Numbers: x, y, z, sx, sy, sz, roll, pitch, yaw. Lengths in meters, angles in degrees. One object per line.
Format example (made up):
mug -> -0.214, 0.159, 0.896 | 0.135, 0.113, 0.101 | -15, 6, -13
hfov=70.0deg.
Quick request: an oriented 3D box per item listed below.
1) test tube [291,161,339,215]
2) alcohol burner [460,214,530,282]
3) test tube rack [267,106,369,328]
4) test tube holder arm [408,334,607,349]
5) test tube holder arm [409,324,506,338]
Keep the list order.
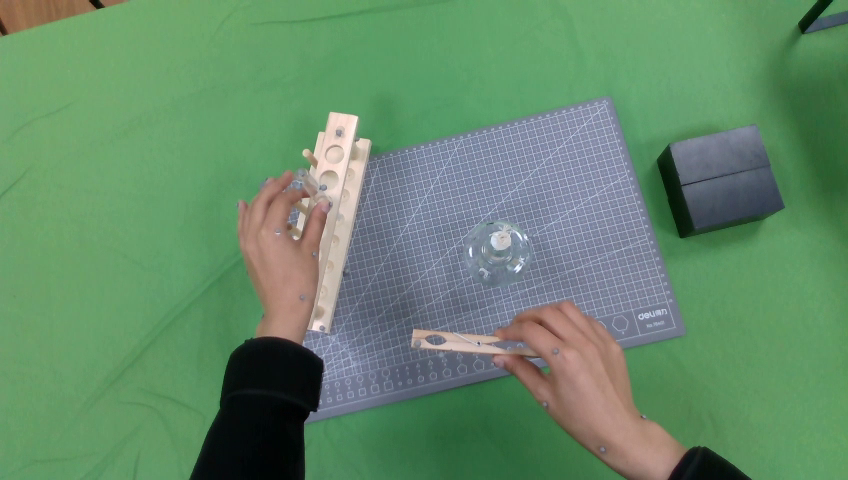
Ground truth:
test tube -> -0.111, -0.051, 0.636 | 0.017, 0.151, 0.017 | -1, 78, 4
alcohol burner -> 0.078, 0.006, 0.662 | 0.078, 0.119, 0.077 | -1, 77, 4
test tube rack -> -0.127, -0.027, 0.699 | 0.066, 0.085, 0.241 | 10, 80, 7
test tube holder arm -> 0.075, 0.091, 0.545 | 0.178, 0.015, 0.013 | 3, 74, -1
test tube holder arm -> 0.030, 0.083, 0.545 | 0.088, 0.015, 0.010 | 4, 73, -1
